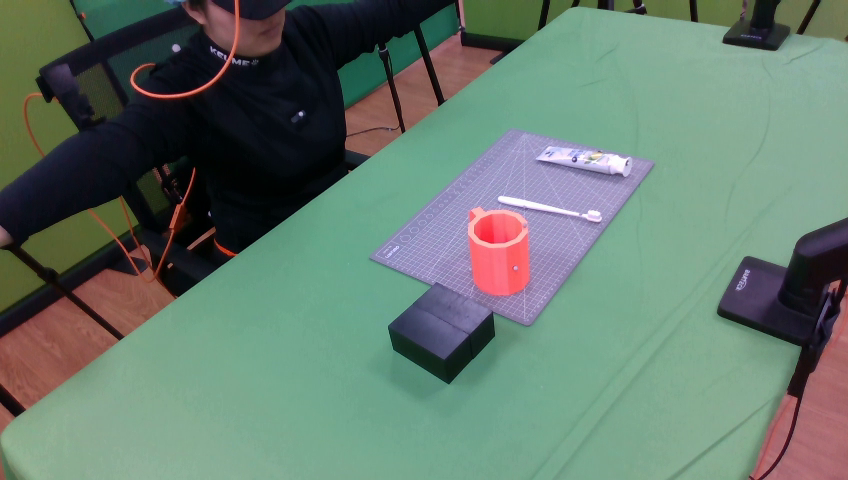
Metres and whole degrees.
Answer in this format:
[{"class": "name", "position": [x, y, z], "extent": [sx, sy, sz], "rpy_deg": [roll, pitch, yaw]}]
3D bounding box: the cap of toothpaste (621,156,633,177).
[{"class": "cap of toothpaste", "position": [0.352, -0.128, 1.051], "extent": [0.011, 0.037, 0.037], "rpy_deg": [18, 48, 35]}]

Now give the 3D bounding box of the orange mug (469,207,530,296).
[{"class": "orange mug", "position": [0.104, 0.008, 0.894], "extent": [0.084, 0.101, 0.125], "rpy_deg": [-22, 46, -14]}]

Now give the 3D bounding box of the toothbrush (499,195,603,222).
[{"class": "toothbrush", "position": [0.209, -0.055, 1.010], "extent": [0.180, 0.017, 0.014], "rpy_deg": [14, 62, 27]}]

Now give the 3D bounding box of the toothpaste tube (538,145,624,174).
[{"class": "toothpaste tube", "position": [0.292, -0.148, 1.097], "extent": [0.164, 0.034, 0.055], "rpy_deg": [17, 40, 34]}]
